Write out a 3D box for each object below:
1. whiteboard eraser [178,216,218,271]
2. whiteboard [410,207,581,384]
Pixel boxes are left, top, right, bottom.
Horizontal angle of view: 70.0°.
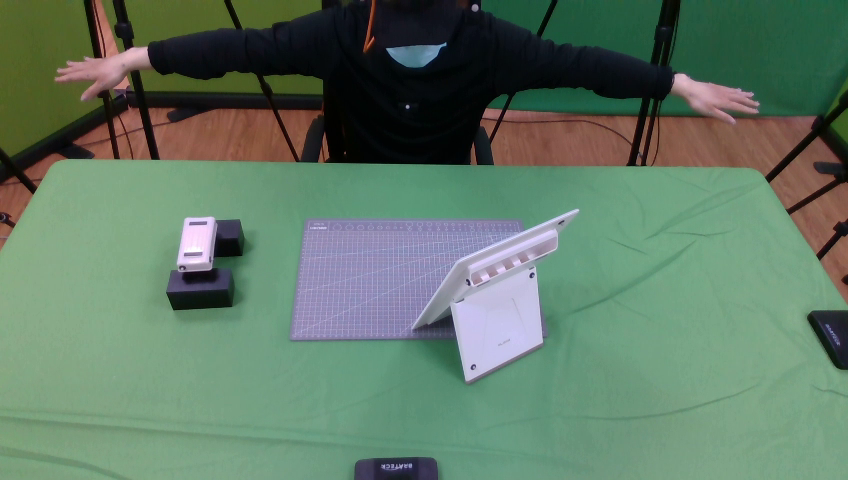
[{"bbox_3d":[-0.400,0.008,1.078,0.056,0.042,0.112,-1,49,-10],"label":"whiteboard eraser"},{"bbox_3d":[0.131,0.108,0.946,0.217,0.306,0.143,-21,72,-23],"label":"whiteboard"}]
